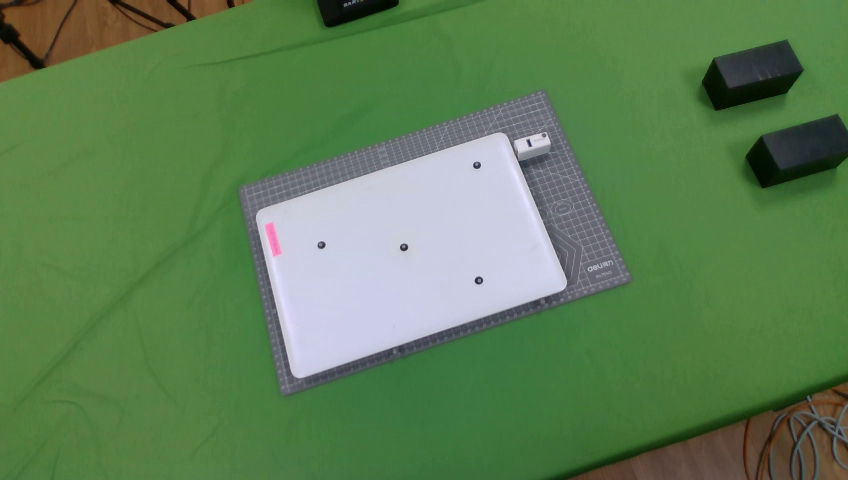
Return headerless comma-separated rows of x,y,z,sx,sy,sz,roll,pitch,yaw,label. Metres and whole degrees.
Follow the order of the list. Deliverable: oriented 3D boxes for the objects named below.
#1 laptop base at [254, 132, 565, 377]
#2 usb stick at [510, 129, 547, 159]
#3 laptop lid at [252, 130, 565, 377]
-0.027,0.011,0.777,0.354,0.023,0.234,-19,71,-2,laptop base
0.131,-0.125,0.800,0.059,0.027,0.021,-17,68,2,usb stick
-0.027,0.009,0.766,0.357,0.013,0.240,-17,70,-1,laptop lid
